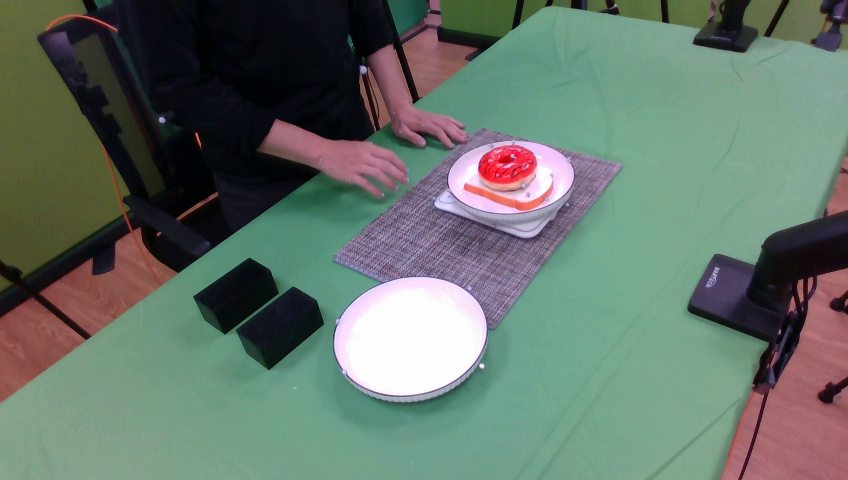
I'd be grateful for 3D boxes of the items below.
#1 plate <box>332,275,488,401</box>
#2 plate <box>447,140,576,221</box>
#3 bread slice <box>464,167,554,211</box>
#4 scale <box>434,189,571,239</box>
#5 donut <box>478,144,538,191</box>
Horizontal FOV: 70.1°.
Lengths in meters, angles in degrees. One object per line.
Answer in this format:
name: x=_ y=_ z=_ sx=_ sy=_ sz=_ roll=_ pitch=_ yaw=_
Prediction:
plate: x=-0.017 y=0.131 z=0.808 sx=0.207 sy=0.039 sz=0.206 roll=-4 pitch=41 yaw=4
plate: x=0.143 y=-0.094 z=0.995 sx=0.209 sy=0.038 sz=0.208 roll=-4 pitch=41 yaw=4
bread slice: x=0.149 y=-0.095 z=0.998 sx=0.130 sy=0.019 sz=0.105 roll=25 pitch=51 yaw=32
scale: x=0.132 y=-0.075 z=1.025 sx=0.199 sy=0.032 sz=0.149 roll=22 pitch=48 yaw=30
donut: x=0.135 y=-0.119 z=0.983 sx=0.099 sy=0.048 sz=0.098 roll=-7 pitch=41 yaw=6
